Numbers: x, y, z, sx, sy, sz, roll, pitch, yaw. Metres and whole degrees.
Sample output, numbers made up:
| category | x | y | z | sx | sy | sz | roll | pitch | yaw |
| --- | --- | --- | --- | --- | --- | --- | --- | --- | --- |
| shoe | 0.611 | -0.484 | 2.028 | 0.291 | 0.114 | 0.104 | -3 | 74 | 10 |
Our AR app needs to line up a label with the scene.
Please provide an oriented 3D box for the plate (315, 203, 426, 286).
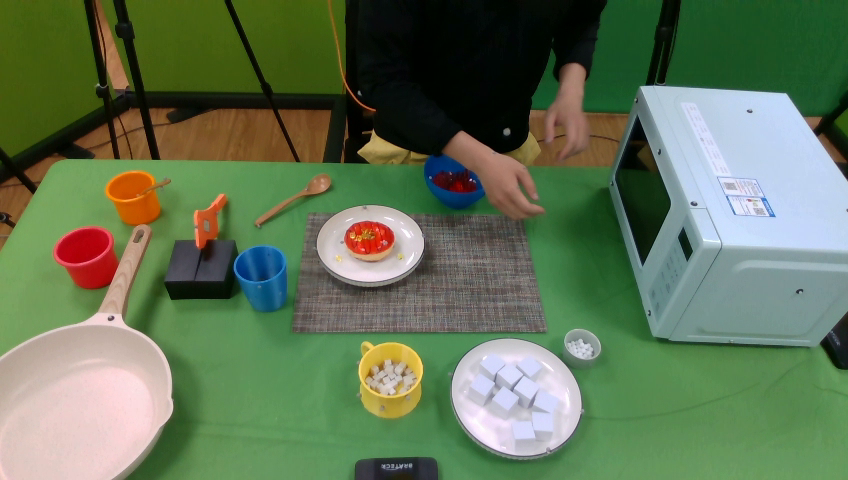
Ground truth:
| category | x | y | z | sx | sy | sz | roll | pitch | yaw |
| --- | --- | --- | --- | --- | --- | --- | --- | --- | --- |
| plate | -0.101 | 0.012 | 1.159 | 0.209 | 0.038 | 0.208 | 2 | 46 | -2 |

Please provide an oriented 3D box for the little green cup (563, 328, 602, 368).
| category | x | y | z | sx | sy | sz | roll | pitch | yaw |
| --- | --- | --- | --- | --- | --- | --- | --- | --- | --- |
| little green cup | 0.265 | 0.184 | 1.025 | 0.061 | 0.039 | 0.061 | 2 | 46 | -1 |

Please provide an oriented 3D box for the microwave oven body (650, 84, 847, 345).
| category | x | y | z | sx | sy | sz | roll | pitch | yaw |
| --- | --- | --- | --- | --- | --- | --- | --- | --- | --- |
| microwave oven body | 0.569 | -0.054 | 1.116 | 0.326 | 0.261 | 0.439 | 2 | 46 | -1 |

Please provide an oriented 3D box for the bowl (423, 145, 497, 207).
| category | x | y | z | sx | sy | sz | roll | pitch | yaw |
| --- | --- | --- | --- | --- | --- | --- | --- | --- | --- |
| bowl | 0.073 | -0.123 | 1.278 | 0.151 | 0.077 | 0.150 | 2 | 46 | -2 |

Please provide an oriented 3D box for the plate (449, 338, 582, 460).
| category | x | y | z | sx | sy | sz | roll | pitch | yaw |
| --- | --- | --- | --- | --- | --- | --- | --- | --- | --- |
| plate | 0.141 | 0.251 | 0.955 | 0.208 | 0.039 | 0.206 | 2 | 46 | -2 |

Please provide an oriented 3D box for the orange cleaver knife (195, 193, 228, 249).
| category | x | y | z | sx | sy | sz | roll | pitch | yaw |
| --- | --- | --- | --- | --- | --- | --- | --- | --- | --- |
| orange cleaver knife | -0.406 | -0.041 | 1.163 | 0.012 | 0.077 | 0.210 | 0 | 18 | -3 |

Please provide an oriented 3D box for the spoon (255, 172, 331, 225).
| category | x | y | z | sx | sy | sz | roll | pitch | yaw |
| --- | --- | --- | --- | --- | --- | --- | --- | --- | --- |
| spoon | -0.272 | -0.087 | 1.256 | 0.041 | 0.022 | 0.193 | 46 | 57 | 12 |

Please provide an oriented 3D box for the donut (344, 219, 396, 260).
| category | x | y | z | sx | sy | sz | roll | pitch | yaw |
| --- | --- | --- | --- | --- | --- | --- | --- | --- | --- |
| donut | -0.103 | -0.002 | 1.157 | 0.099 | 0.048 | 0.098 | 3 | 43 | -2 |

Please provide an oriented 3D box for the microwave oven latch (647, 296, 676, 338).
| category | x | y | z | sx | sy | sz | roll | pitch | yaw |
| --- | --- | --- | --- | --- | --- | --- | --- | --- | --- |
| microwave oven latch | 0.413 | 0.133 | 1.060 | 0.030 | 0.029 | 0.078 | 4 | 46 | 1 |

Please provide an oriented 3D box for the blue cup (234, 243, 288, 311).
| category | x | y | z | sx | sy | sz | roll | pitch | yaw |
| --- | --- | --- | --- | --- | --- | --- | --- | --- | --- |
| blue cup | -0.276 | 0.072 | 1.052 | 0.093 | 0.101 | 0.092 | 1 | 48 | -1 |

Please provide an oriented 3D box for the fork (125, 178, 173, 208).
| category | x | y | z | sx | sy | sz | roll | pitch | yaw |
| --- | --- | --- | --- | --- | --- | --- | --- | --- | --- |
| fork | -0.525 | -0.090 | 1.154 | 0.207 | 0.019 | 0.028 | -17 | 27 | 45 |

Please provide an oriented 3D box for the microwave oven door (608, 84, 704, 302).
| category | x | y | z | sx | sy | sz | roll | pitch | yaw |
| --- | --- | --- | --- | --- | --- | --- | --- | --- | --- |
| microwave oven door | 0.424 | -0.096 | 1.138 | 0.039 | 0.245 | 0.353 | 2 | 47 | -1 |

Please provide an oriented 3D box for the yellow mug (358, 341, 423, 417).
| category | x | y | z | sx | sy | sz | roll | pitch | yaw |
| --- | --- | --- | --- | --- | --- | --- | --- | --- | --- |
| yellow mug | -0.062 | 0.210 | 0.961 | 0.100 | 0.064 | 0.130 | -29 | 54 | -27 |

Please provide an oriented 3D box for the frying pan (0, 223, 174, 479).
| category | x | y | z | sx | sy | sz | roll | pitch | yaw |
| --- | --- | --- | --- | --- | --- | --- | --- | --- | --- |
| frying pan | -0.505 | 0.169 | 0.941 | 0.307 | 0.103 | 0.485 | 5 | 54 | -1 |
